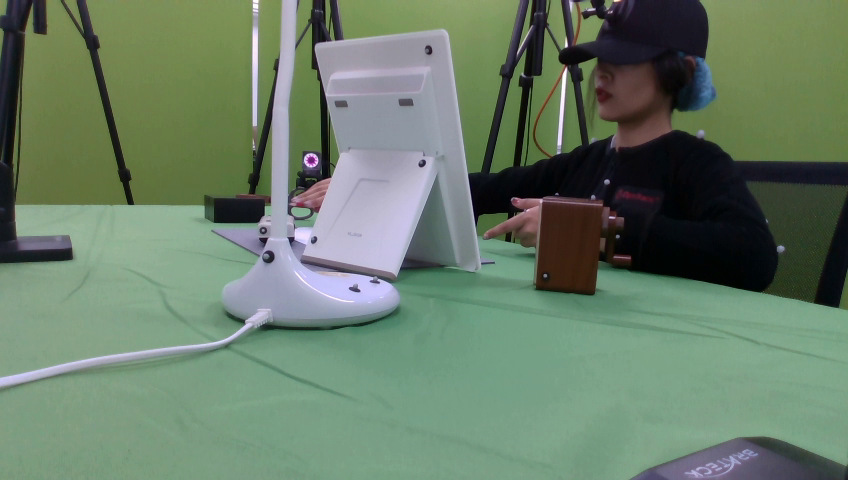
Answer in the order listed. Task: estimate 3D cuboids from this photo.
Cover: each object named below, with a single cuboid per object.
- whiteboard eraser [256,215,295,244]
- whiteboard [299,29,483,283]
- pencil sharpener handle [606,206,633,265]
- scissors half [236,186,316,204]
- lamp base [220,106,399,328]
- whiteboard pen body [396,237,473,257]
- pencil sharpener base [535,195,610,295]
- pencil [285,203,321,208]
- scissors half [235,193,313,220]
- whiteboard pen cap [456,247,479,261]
[{"bbox_3d":[-0.232,-0.016,0.951,0.056,0.042,0.112,2,7,-12],"label":"whiteboard eraser"},{"bbox_3d":[-0.074,-0.082,0.742,0.216,0.305,0.144,9,30,38],"label":"whiteboard"},{"bbox_3d":[0.222,-0.004,0.683,0.030,0.068,0.036,5,21,16],"label":"pencil sharpener handle"},{"bbox_3d":[-0.320,-0.097,1.316,0.176,0.040,0.013,-3,11,-29],"label":"scissors half"},{"bbox_3d":[-0.101,-0.023,0.531,0.160,0.180,0.179,4,10,10],"label":"lamp base"},{"bbox_3d":[0.014,0.012,0.886,0.140,0.017,0.017,10,11,38],"label":"whiteboard pen body"},{"bbox_3d":[0.172,0.005,0.695,0.076,0.107,0.061,5,7,16],"label":"pencil sharpener base"},{"bbox_3d":[-0.179,-0.065,1.198,0.195,0.012,0.012,2,7,-26],"label":"pencil"},{"bbox_3d":[-0.324,-0.077,1.319,0.176,0.040,0.012,17,6,-31],"label":"scissors half"},{"bbox_3d":[0.060,0.020,0.851,0.033,0.018,0.018,10,10,37],"label":"whiteboard pen cap"}]
